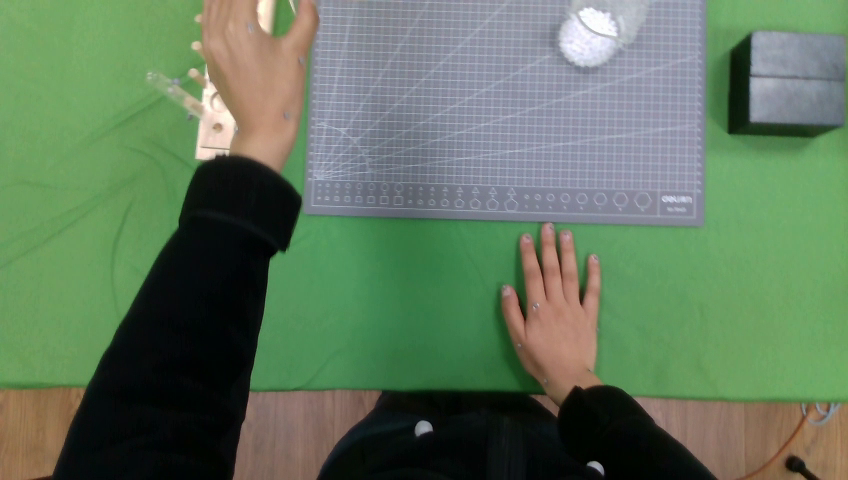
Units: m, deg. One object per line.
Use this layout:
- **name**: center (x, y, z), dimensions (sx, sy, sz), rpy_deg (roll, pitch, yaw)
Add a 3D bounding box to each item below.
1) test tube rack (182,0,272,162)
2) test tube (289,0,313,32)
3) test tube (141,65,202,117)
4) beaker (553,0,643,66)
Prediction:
- **test tube rack**: center (-0.216, -0.215, 0.659), dimensions (0.067, 0.085, 0.242), rpy_deg (5, 86, 1)
- **test tube**: center (-0.111, -0.211, 0.534), dimensions (0.017, 0.150, 0.017), rpy_deg (0, 93, -6)
- **test tube**: center (-0.244, -0.145, 0.610), dimensions (0.017, 0.150, 0.017), rpy_deg (0, 87, 1)
- **beaker**: center (0.182, -0.233, 0.645), dimensions (0.074, 0.100, 0.084), rpy_deg (-27, 86, -1)
